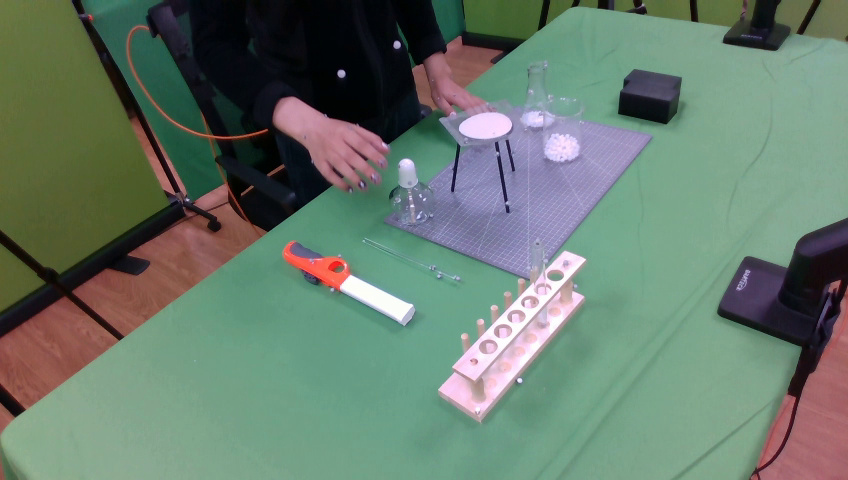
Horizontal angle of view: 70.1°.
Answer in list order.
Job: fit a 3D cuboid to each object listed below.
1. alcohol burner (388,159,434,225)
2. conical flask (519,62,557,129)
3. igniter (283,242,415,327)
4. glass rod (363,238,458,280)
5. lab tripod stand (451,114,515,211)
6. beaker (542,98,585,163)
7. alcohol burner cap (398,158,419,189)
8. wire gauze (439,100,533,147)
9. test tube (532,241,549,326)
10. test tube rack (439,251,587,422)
[{"bbox_3d":[-0.023,-0.084,1.013,0.078,0.119,0.077,-4,38,4],"label":"alcohol burner"},{"bbox_3d":[0.225,-0.287,1.198,0.075,0.122,0.075,-6,40,5],"label":"conical flask"},{"bbox_3d":[-0.126,0.062,0.931,0.274,0.025,0.057,24,61,33],"label":"igniter"},{"bbox_3d":[-0.026,0.029,0.966,0.198,0.008,0.008,21,49,35],"label":"glass rod"},{"bbox_3d":[0.113,-0.140,1.037,0.148,0.132,0.147,-6,38,5],"label":"lab tripod stand"},{"bbox_3d":[0.255,-0.200,1.107,0.073,0.101,0.084,9,43,21],"label":"beaker"},{"bbox_3d":[-0.028,-0.111,0.988,0.034,0.048,0.033,-4,46,4],"label":"alcohol burner cap"},{"bbox_3d":[0.100,-0.190,0.994,0.125,0.011,0.120,-15,39,-7],"label":"wire gauze"},{"bbox_3d":[0.147,0.059,0.760,0.017,0.151,0.017,-7,43,7],"label":"test tube"},{"bbox_3d":[0.118,0.111,0.780,0.066,0.085,0.243,26,51,35],"label":"test tube rack"}]
